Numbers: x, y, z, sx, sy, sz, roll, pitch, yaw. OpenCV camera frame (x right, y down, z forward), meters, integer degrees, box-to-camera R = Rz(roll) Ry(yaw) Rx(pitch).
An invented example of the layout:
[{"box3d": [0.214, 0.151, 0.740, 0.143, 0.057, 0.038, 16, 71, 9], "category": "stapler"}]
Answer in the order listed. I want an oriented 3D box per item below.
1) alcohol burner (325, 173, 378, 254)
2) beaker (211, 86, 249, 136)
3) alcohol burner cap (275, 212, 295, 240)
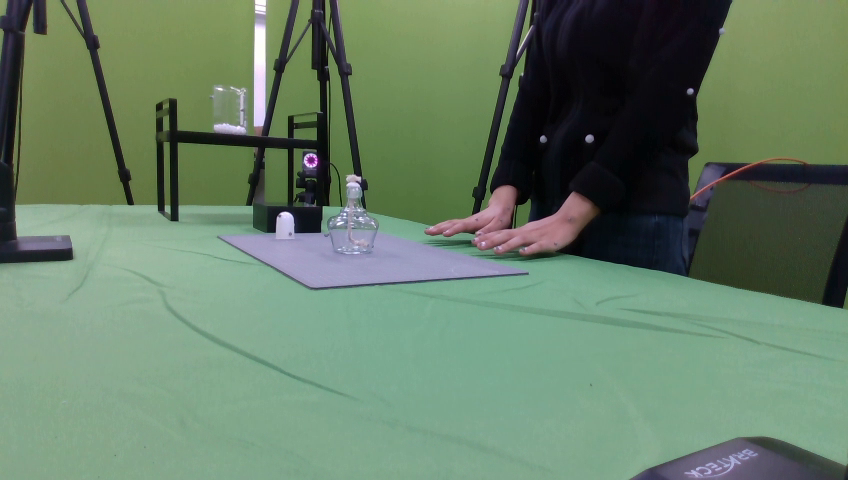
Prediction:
[{"box3d": [-0.107, -0.040, 0.896, 0.078, 0.119, 0.078, 2, 5, 0], "category": "alcohol burner"}, {"box3d": [-0.413, -0.274, 1.297, 0.074, 0.100, 0.083, -5, 11, -44], "category": "beaker"}, {"box3d": [-0.233, -0.024, 1.013, 0.034, 0.048, 0.034, 1, 8, 0], "category": "alcohol burner cap"}]
